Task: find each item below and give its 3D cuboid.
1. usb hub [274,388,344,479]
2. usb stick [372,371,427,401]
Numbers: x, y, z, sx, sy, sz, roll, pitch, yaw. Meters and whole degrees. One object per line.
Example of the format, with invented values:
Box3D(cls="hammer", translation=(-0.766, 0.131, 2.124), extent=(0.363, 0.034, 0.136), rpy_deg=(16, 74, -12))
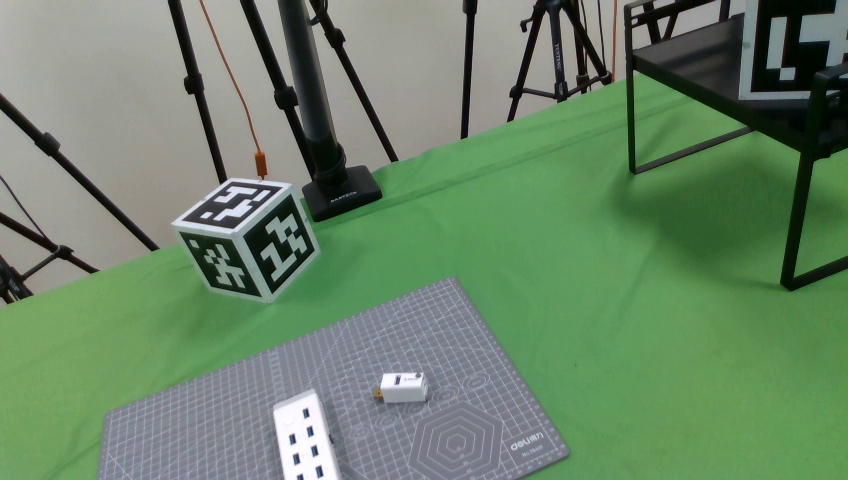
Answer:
Box3D(cls="usb hub", translation=(-0.116, 0.204, 0.600), extent=(0.049, 0.025, 0.123), rpy_deg=(-22, 35, -8))
Box3D(cls="usb stick", translation=(-0.028, 0.153, 0.634), extent=(0.059, 0.027, 0.021), rpy_deg=(-8, 37, 15))
